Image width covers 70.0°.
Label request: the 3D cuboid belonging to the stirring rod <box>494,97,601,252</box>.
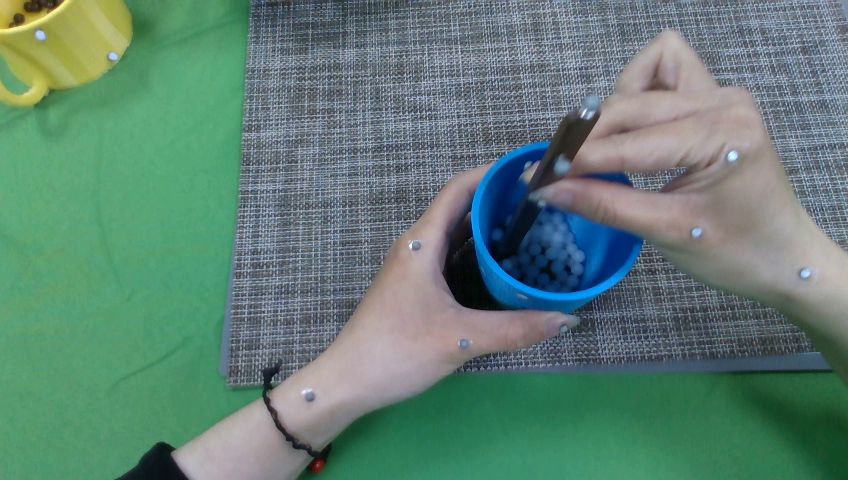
[{"bbox_3d":[0.054,-0.022,0.300,0.014,0.177,0.006,-21,74,-9],"label":"stirring rod"}]

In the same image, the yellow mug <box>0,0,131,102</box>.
[{"bbox_3d":[-0.282,-0.161,0.438,0.100,0.064,0.130,9,72,5],"label":"yellow mug"}]

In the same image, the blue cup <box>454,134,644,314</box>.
[{"bbox_3d":[0.067,0.002,0.343,0.092,0.101,0.092,-1,72,2],"label":"blue cup"}]
